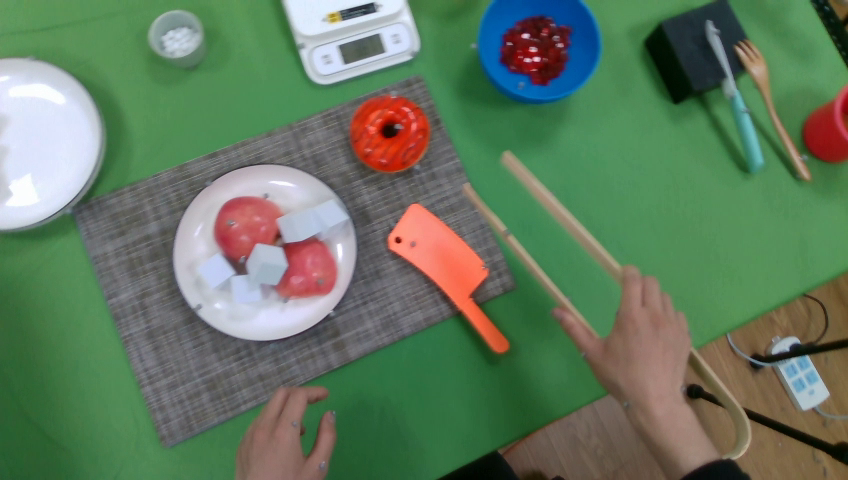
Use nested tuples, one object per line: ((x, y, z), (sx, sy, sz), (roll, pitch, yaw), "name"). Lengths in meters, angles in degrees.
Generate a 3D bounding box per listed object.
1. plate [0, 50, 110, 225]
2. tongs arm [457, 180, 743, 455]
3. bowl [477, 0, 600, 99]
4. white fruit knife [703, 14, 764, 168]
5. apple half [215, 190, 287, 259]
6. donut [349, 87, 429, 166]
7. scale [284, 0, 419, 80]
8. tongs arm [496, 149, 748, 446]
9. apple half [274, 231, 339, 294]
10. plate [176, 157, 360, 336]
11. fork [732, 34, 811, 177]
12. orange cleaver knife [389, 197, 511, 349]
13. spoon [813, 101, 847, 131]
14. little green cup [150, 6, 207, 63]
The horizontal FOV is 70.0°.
((-0.472, -0.117, 0.708), (0.208, 0.039, 0.207), (1, 81, -5), "plate")
((0.173, 0.071, 0.630), (0.051, 0.026, 0.383), (-36, 78, -14), "tongs arm")
((0.135, -0.239, 0.760), (0.151, 0.077, 0.151), (1, 82, -5), "bowl")
((0.394, -0.189, 0.775), (0.016, 0.027, 0.208), (-26, 99, -8), "white fruit knife")
((-0.201, -0.022, 0.698), (0.074, 0.053, 0.080), (21, 79, 1), "apple half")
((-0.042, -0.139, 0.742), (0.099, 0.048, 0.098), (0, 83, -3), "donut")
((-0.103, -0.315, 0.773), (0.149, 0.031, 0.200), (-19, 84, -7), "scale")
((0.200, 0.049, 0.638), (0.028, 0.028, 0.385), (-36, 78, -18), "tongs arm")
((-0.141, 0.026, 0.706), (0.081, 0.033, 0.081), (0, 84, -2), "apple half")
((-0.179, 0.007, 0.712), (0.209, 0.038, 0.208), (1, 82, -5), "plate")
((0.454, -0.172, 0.785), (0.028, 0.018, 0.208), (-33, 101, -11), "fork")
((0.043, 0.038, 0.735), (0.077, 0.012, 0.211), (-41, 85, -15), "orange cleaver knife")
((0.572, -0.127, 0.748), (0.041, 0.022, 0.191), (-29, 41, -9), "spoon")
((-0.298, -0.249, 0.743), (0.061, 0.039, 0.061), (1, 81, -4), "little green cup")
